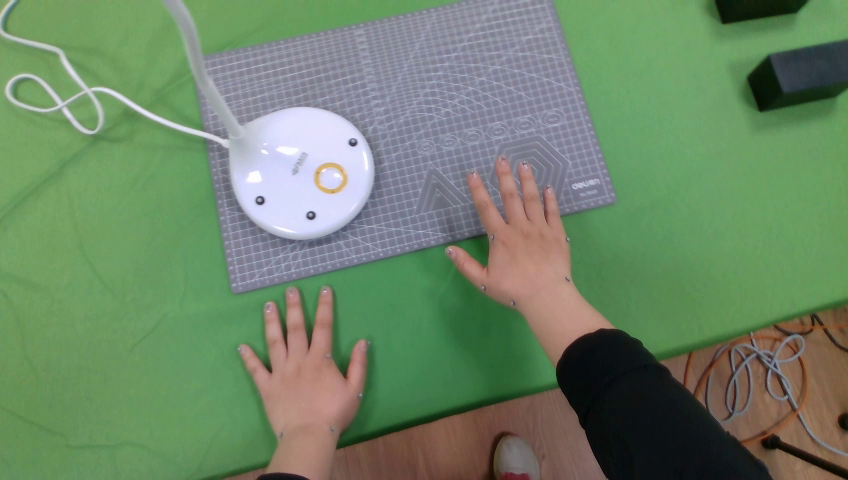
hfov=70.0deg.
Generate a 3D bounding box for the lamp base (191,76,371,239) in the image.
[{"bbox_3d":[-0.154,-0.100,0.620,0.179,0.181,0.160,12,76,6],"label":"lamp base"}]
